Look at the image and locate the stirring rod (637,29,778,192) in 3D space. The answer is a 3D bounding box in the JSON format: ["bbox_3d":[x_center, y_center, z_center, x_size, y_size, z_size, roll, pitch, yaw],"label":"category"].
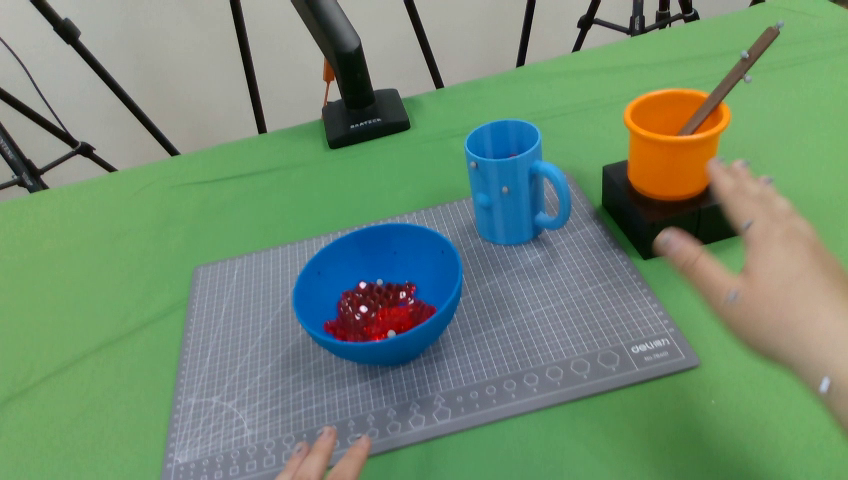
[{"bbox_3d":[0.258,-0.116,0.557,0.176,0.006,0.014,-54,36,18],"label":"stirring rod"}]

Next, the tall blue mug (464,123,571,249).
[{"bbox_3d":[0.100,-0.054,0.624,0.107,0.109,0.077,3,42,18],"label":"tall blue mug"}]

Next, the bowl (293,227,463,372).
[{"bbox_3d":[-0.034,0.065,0.546,0.151,0.077,0.150,-7,40,7],"label":"bowl"}]
